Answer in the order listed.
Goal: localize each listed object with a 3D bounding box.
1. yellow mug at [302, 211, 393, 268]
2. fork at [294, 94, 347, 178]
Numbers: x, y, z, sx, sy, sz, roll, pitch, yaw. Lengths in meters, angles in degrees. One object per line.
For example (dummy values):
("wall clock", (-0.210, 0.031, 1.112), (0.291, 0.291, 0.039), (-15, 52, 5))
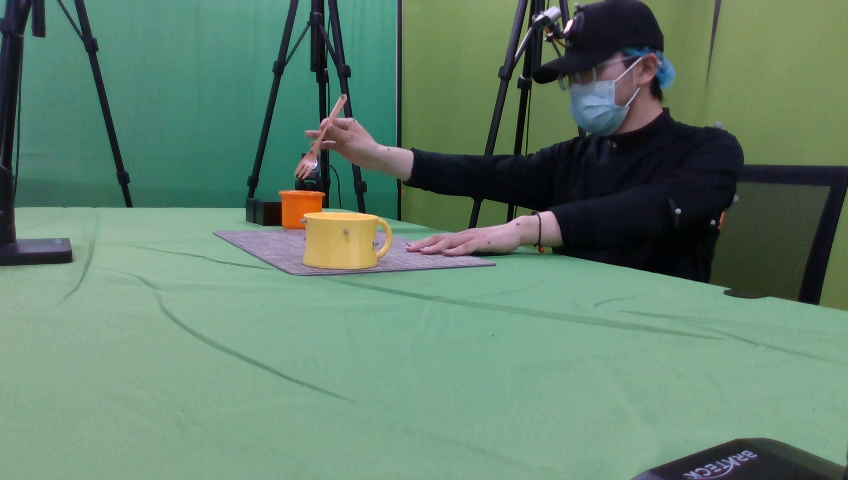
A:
("yellow mug", (-0.098, -0.003, 0.810), (0.131, 0.064, 0.099), (-2, 8, -37))
("fork", (-0.205, -0.212, 1.217), (0.028, 0.207, 0.018), (24, -14, 4))
